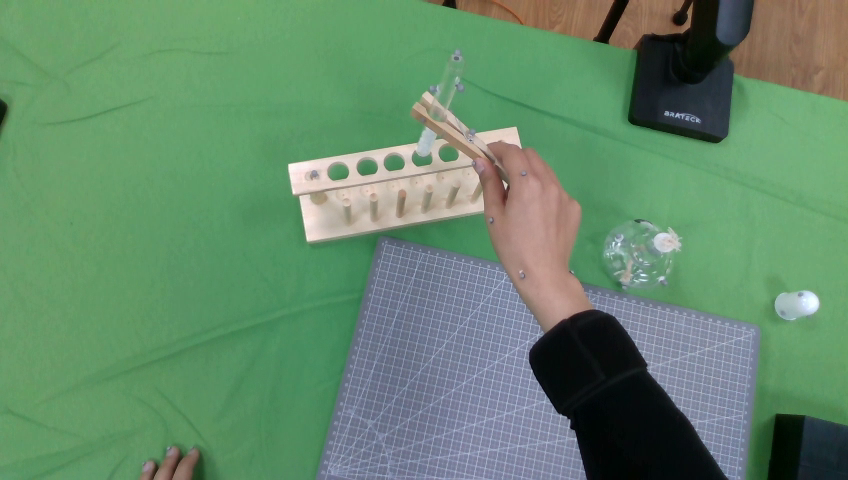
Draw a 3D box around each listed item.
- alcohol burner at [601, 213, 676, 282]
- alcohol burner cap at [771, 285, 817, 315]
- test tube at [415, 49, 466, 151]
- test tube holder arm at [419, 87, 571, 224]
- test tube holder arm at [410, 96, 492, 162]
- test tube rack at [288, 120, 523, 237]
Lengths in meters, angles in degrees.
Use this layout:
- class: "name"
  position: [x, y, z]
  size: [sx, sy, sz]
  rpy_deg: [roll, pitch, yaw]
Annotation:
- class: "alcohol burner"
  position: [0.236, 0.005, 0.651]
  size: [0.078, 0.119, 0.077]
  rpy_deg: [1, 78, -5]
- class: "alcohol burner cap"
  position: [0.423, 0.067, 0.688]
  size: [0.034, 0.048, 0.033]
  rpy_deg: [1, 77, -2]
- class: "test tube"
  position: [0.012, -0.120, 0.544]
  size: [0.017, 0.151, 0.017]
  rpy_deg: [4, 70, -10]
- class: "test tube holder arm"
  position: [0.065, -0.076, 0.552]
  size: [0.178, 0.015, 0.013]
  rpy_deg: [40, 74, 0]
- class: "test tube holder arm"
  position: [0.026, -0.100, 0.550]
  size: [0.088, 0.015, 0.010]
  rpy_deg: [34, 73, -2]
- class: "test tube rack"
  position: [-0.017, -0.065, 0.660]
  size: [0.243, 0.085, 0.066]
  rpy_deg: [-10, 78, -6]
